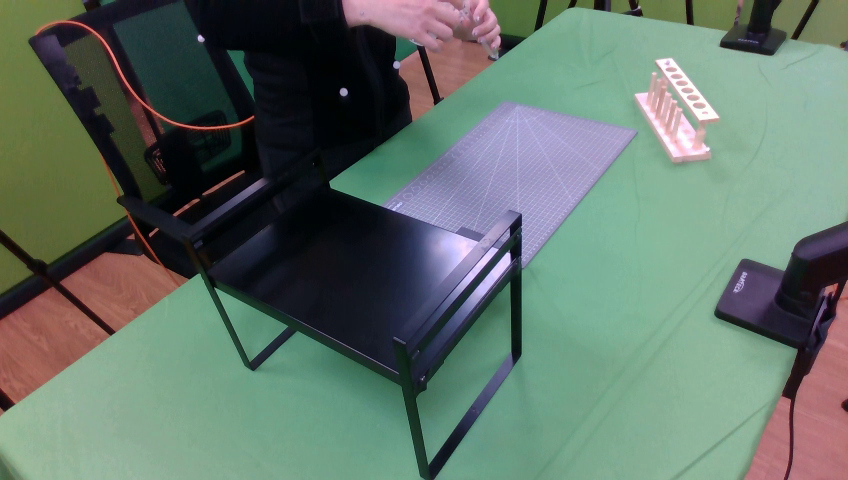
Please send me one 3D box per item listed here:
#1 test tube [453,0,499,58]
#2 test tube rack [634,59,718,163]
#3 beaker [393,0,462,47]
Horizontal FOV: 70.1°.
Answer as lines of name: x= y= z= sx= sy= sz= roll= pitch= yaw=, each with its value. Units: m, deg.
test tube: x=0.087 y=-0.341 z=0.983 sx=0.017 sy=0.151 sz=0.017 roll=-11 pitch=67 yaw=27
test tube rack: x=0.470 y=-0.250 z=1.148 sx=0.067 sy=0.085 sz=0.241 roll=-6 pitch=40 yaw=3
beaker: x=0.009 y=-0.341 z=0.886 sx=0.073 sy=0.084 sz=0.100 roll=29 pitch=82 yaw=34
